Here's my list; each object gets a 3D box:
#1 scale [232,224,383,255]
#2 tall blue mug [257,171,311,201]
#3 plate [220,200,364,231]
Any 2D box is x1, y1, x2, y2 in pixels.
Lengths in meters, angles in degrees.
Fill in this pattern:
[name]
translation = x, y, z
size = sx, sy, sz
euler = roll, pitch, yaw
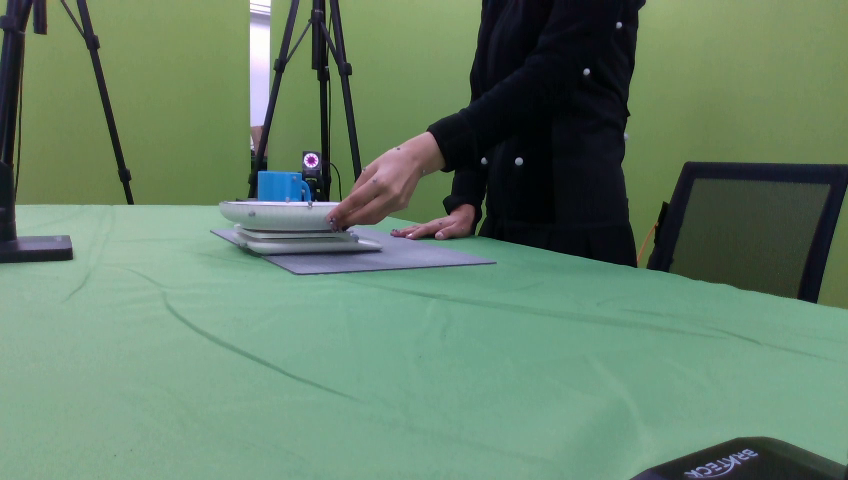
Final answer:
[scale]
translation = -0.178, -0.004, 0.920
size = 0.202, 0.031, 0.148
euler = -1, 9, -30
[tall blue mug]
translation = -0.259, -0.070, 1.107
size = 0.078, 0.108, 0.107
euler = 2, 7, 5
[plate]
translation = -0.192, -0.037, 0.892
size = 0.209, 0.038, 0.209
euler = 0, 5, 0
